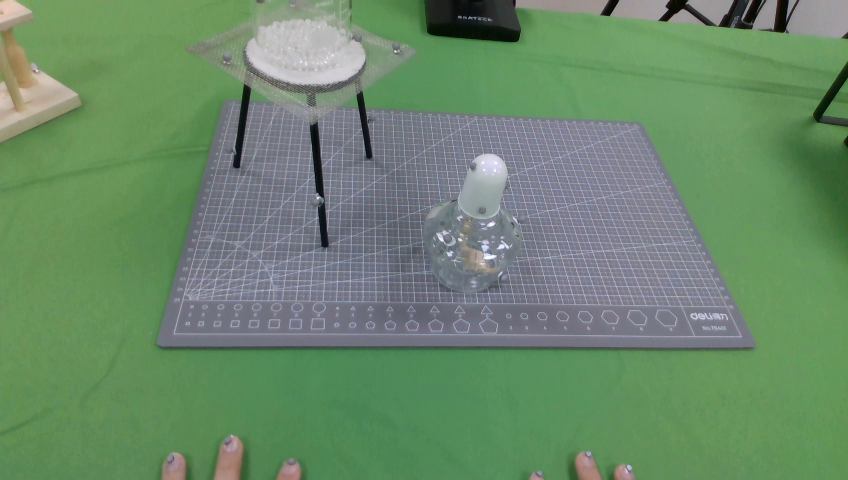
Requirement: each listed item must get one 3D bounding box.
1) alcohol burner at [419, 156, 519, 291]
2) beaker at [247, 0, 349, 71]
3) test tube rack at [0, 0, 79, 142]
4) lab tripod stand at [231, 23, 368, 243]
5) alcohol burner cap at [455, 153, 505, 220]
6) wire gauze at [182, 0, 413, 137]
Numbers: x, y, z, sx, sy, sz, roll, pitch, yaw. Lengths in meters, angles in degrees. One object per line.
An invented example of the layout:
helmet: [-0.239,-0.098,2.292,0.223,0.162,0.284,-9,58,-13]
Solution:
alcohol burner: [0.037,-0.017,0.458,0.078,0.120,0.077,6,45,-6]
beaker: [-0.088,-0.175,0.415,0.073,0.101,0.084,38,54,23]
test tube rack: [-0.424,-0.108,0.493,0.066,0.086,0.242,31,50,19]
lab tripod stand: [-0.095,-0.092,0.494,0.149,0.132,0.147,6,47,-6]
alcohol burner cap: [0.042,-0.040,0.431,0.034,0.048,0.033,4,51,-5]
wire gauze: [-0.090,-0.137,0.447,0.124,0.011,0.121,34,53,16]
